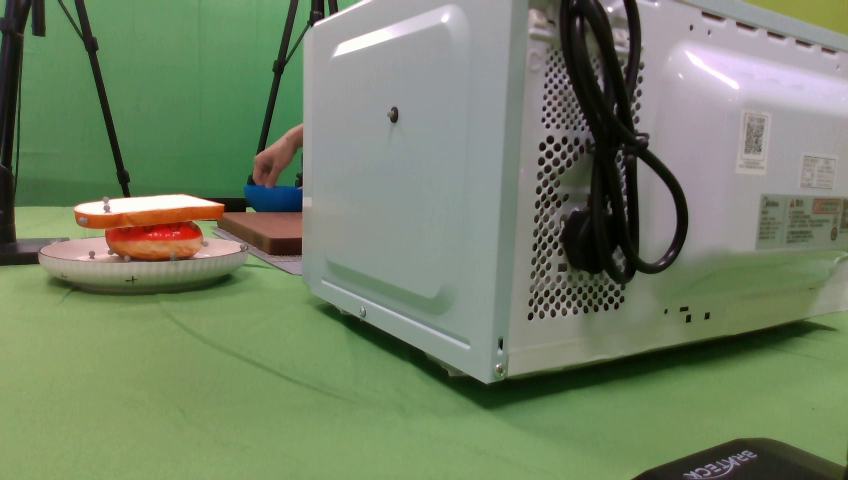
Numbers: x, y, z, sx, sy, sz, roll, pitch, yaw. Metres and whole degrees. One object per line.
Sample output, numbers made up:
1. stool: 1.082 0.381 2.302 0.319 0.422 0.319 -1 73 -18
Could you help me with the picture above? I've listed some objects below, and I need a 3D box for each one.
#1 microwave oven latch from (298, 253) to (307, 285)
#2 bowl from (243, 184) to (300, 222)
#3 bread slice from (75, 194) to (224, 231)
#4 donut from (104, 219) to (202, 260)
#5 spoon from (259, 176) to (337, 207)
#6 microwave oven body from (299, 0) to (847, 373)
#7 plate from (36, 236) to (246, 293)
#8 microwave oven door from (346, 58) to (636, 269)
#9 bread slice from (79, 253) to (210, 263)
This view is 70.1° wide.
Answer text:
1. microwave oven latch: -0.081 0.027 0.582 0.079 0.029 0.030 -1 7 -32
2. bowl: -0.321 -0.081 1.333 0.151 0.077 0.151 3 7 0
3. bread slice: -0.301 -0.032 0.659 0.106 0.018 0.135 10 17 41
4. donut: -0.297 -0.003 0.667 0.099 0.048 0.099 4 6 0
5. spoon: -0.279 -0.112 1.357 0.194 0.021 0.041 -28 14 -28
6. microwave oven body: 0.151 -0.055 0.542 0.444 0.260 0.324 -2 7 -33
7. plate: -0.305 0.026 0.668 0.208 0.039 0.207 2 7 0
8. microwave oven door: 0.086 -0.089 0.750 0.357 0.243 0.039 1 8 -10
9. bread slice: -0.302 0.027 0.662 0.132 0.019 0.104 -4 8 -45
